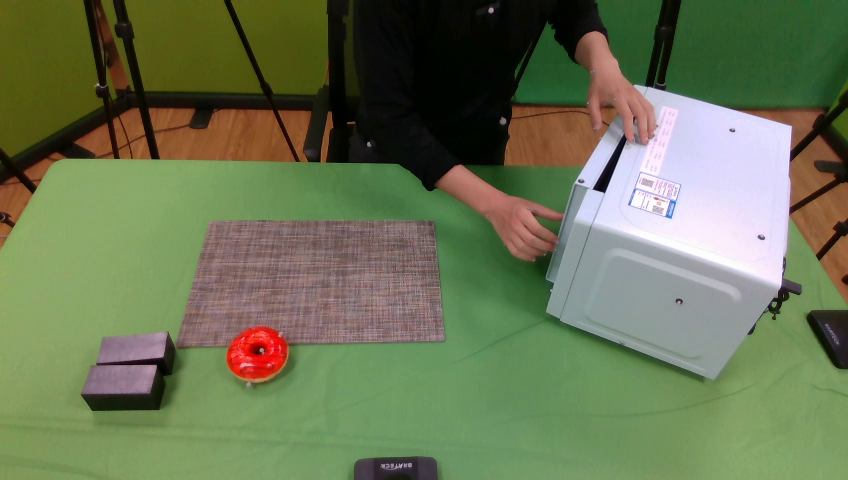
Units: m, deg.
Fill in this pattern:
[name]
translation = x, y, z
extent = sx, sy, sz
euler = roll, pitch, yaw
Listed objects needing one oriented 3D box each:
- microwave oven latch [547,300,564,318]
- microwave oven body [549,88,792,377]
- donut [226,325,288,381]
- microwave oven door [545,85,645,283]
[microwave oven latch]
translation = 0.242, 0.102, 1.081
extent = 0.030, 0.029, 0.079
euler = 21, 48, 17
[microwave oven body]
translation = 0.456, -0.028, 1.088
extent = 0.325, 0.261, 0.440
euler = 20, 47, 16
[donut]
translation = -0.270, 0.182, 0.984
extent = 0.099, 0.048, 0.098
euler = 5, 49, -5
[microwave oven door]
translation = 0.332, -0.111, 1.152
extent = 0.039, 0.245, 0.355
euler = 24, 49, 18
